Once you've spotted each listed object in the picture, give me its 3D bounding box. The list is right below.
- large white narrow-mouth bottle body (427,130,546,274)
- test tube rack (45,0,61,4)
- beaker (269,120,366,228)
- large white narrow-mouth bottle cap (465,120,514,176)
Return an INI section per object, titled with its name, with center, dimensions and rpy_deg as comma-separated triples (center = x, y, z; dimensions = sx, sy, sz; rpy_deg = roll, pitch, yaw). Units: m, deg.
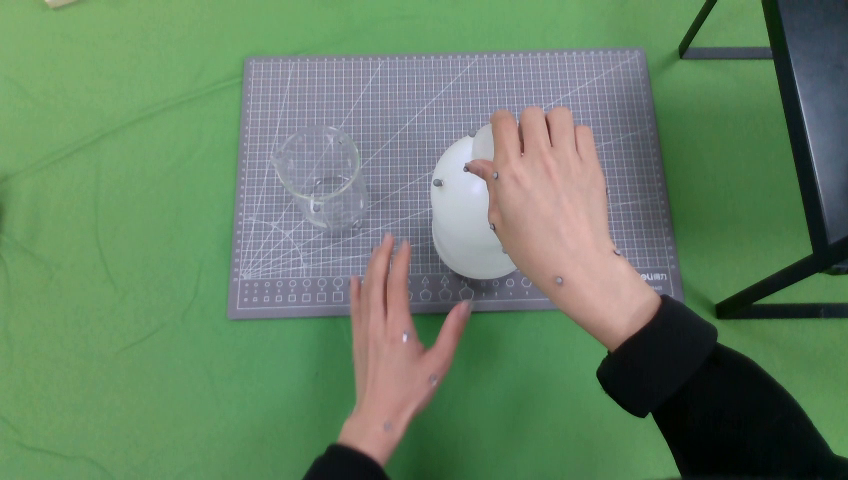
[large white narrow-mouth bottle body]
center = 0.054, -0.039, 0.527
dimensions = 0.102, 0.196, 0.101
rpy_deg = -1, 72, 3
[test tube rack]
center = -0.339, -0.360, 0.687
dimensions = 0.242, 0.085, 0.066
rpy_deg = -22, 73, -7
[beaker]
center = -0.098, -0.058, 0.584
dimensions = 0.084, 0.101, 0.073
rpy_deg = 8, 72, 3
[large white narrow-mouth bottle cap]
center = 0.048, -0.067, 0.445
dimensions = 0.038, 0.024, 0.037
rpy_deg = -1, 72, 2
